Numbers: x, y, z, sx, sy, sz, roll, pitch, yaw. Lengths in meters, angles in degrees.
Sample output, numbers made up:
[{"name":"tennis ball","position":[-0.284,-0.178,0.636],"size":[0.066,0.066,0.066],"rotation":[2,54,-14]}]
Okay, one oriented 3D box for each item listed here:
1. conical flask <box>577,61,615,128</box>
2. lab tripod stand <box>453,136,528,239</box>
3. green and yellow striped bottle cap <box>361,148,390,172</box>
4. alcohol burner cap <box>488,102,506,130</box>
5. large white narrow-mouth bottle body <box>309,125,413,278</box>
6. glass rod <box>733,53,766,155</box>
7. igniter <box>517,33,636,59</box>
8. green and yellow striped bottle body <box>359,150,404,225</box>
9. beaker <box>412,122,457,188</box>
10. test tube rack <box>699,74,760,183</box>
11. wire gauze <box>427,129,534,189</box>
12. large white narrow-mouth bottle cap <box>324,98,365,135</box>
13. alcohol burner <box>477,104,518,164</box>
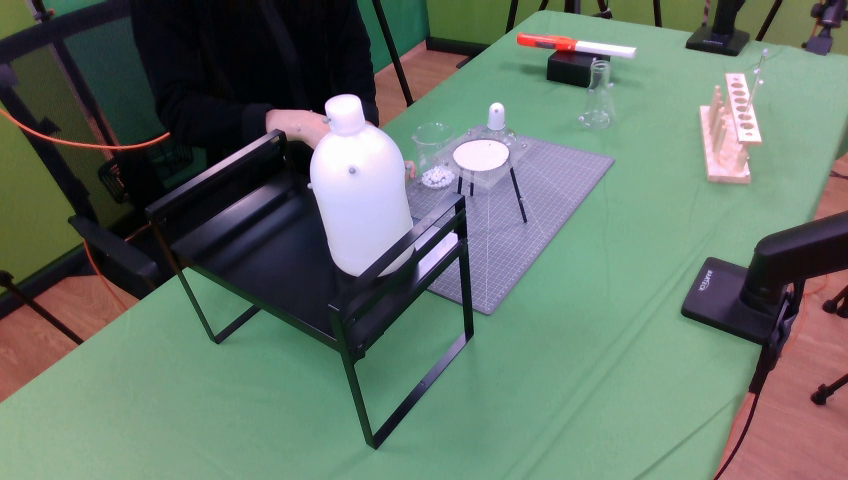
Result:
[{"name":"conical flask","position":[0.343,-0.288,1.188],"size":[0.075,0.122,0.075],"rotation":[-4,41,4]},{"name":"lab tripod stand","position":[0.094,-0.086,0.974],"size":[0.148,0.132,0.147],"rotation":[-4,43,4]},{"name":"green and yellow striped bottle cap","position":[-0.079,-0.130,0.976],"size":[0.045,0.020,0.045],"rotation":[-3,40,3]},{"name":"alcohol burner cap","position":[0.133,-0.227,1.092],"size":[0.034,0.048,0.033],"rotation":[-1,47,2]},{"name":"large white narrow-mouth bottle body","position":[-0.068,-0.057,0.644],"size":[0.102,0.195,0.101],"rotation":[-3,42,4]},{"name":"glass rod","position":[0.540,-0.220,1.006],"size":[0.008,0.201,0.008],"rotation":[-5,45,6]},{"name":"igniter","position":[0.336,-0.441,1.369],"size":[0.275,0.025,0.057],"rotation":[16,41,23]},{"name":"green and yellow striped bottle body","position":[-0.072,-0.089,1.012],"size":[0.063,0.120,0.063],"rotation":[-4,40,4]},{"name":"beaker","position":[0.022,-0.152,1.088],"size":[0.073,0.100,0.084],"rotation":[13,44,21]},{"name":"test tube rack","position":[0.547,-0.208,1.095],"size":[0.066,0.085,0.242],"rotation":[6,42,16]},{"name":"wire gauze","position":[0.086,-0.131,0.924],"size":[0.124,0.011,0.122],"rotation":[26,52,33]},{"name":"large white narrow-mouth bottle cap","position":[-0.076,-0.120,0.585],"size":[0.038,0.024,0.037],"rotation":[-3,42,3]},{"name":"alcohol burner","position":[0.135,-0.200,1.117],"size":[0.078,0.119,0.077],"rotation":[-4,43,4]}]
